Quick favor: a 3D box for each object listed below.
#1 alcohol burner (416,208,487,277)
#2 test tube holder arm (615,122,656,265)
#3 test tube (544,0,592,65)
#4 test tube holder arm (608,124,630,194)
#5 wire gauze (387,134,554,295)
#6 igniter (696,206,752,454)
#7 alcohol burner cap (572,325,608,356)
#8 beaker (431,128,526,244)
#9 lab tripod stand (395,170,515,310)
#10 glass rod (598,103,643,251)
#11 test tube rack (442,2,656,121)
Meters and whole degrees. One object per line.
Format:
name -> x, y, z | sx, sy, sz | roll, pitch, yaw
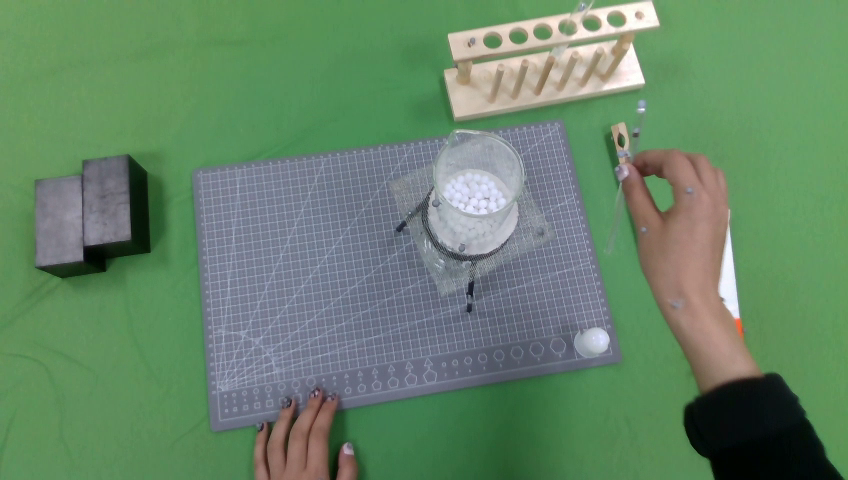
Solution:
alcohol burner -> 0.030, -0.002, 0.647 | 0.078, 0.119, 0.077 | 0, 73, -1
test tube holder arm -> 0.251, -0.057, 0.720 | 0.013, 0.015, 0.177 | -17, 74, 27
test tube -> 0.165, -0.244, 0.684 | 0.017, 0.151, 0.017 | 2, 72, -7
test tube holder arm -> 0.239, -0.098, 0.734 | 0.010, 0.015, 0.087 | -17, 74, 28
wire gauze -> 0.043, -0.028, 0.575 | 0.121, 0.011, 0.124 | -25, 78, -5
igniter -> 0.334, 0.095, 0.679 | 0.057, 0.025, 0.275 | 5, 74, -11
alcohol burner cap -> 0.183, 0.107, 0.659 | 0.034, 0.048, 0.033 | 1, 74, -2
beaker -> 0.042, -0.043, 0.530 | 0.074, 0.101, 0.083 | -24, 76, -6
lab tripod stand -> 0.036, -0.008, 0.638 | 0.148, 0.132, 0.147 | 0, 75, 0
glass rod -> 0.170, -0.046, 0.532 | 0.008, 0.201, 0.008 | -3, 57, 5
test tube rack -> 0.148, -0.212, 0.726 | 0.242, 0.085, 0.066 | -11, 75, -5
